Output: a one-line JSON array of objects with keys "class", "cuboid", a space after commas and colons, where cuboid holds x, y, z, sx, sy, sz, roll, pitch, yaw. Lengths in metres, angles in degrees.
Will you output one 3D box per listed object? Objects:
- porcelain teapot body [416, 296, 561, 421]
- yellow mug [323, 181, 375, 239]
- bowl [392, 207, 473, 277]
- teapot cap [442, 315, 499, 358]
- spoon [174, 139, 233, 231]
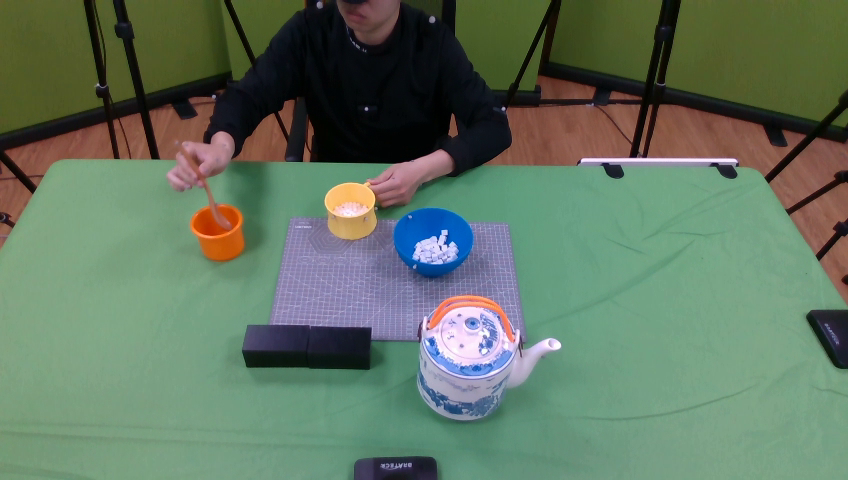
[{"class": "porcelain teapot body", "cuboid": [0.094, 0.164, 0.907, 0.205, 0.226, 0.144, 6, 45, 1]}, {"class": "yellow mug", "cuboid": [-0.141, -0.070, 1.216, 0.099, 0.064, 0.130, 21, 50, 16]}, {"class": "bowl", "cuboid": [0.014, 0.016, 1.140, 0.151, 0.077, 0.150, 2, 46, -2]}, {"class": "teapot cap", "cuboid": [0.068, 0.133, 0.880, 0.085, 0.044, 0.084, 4, 45, -4]}, {"class": "spoon", "cuboid": [-0.388, -0.095, 1.073, 0.021, 0.195, 0.041, -19, 33, -3]}]
